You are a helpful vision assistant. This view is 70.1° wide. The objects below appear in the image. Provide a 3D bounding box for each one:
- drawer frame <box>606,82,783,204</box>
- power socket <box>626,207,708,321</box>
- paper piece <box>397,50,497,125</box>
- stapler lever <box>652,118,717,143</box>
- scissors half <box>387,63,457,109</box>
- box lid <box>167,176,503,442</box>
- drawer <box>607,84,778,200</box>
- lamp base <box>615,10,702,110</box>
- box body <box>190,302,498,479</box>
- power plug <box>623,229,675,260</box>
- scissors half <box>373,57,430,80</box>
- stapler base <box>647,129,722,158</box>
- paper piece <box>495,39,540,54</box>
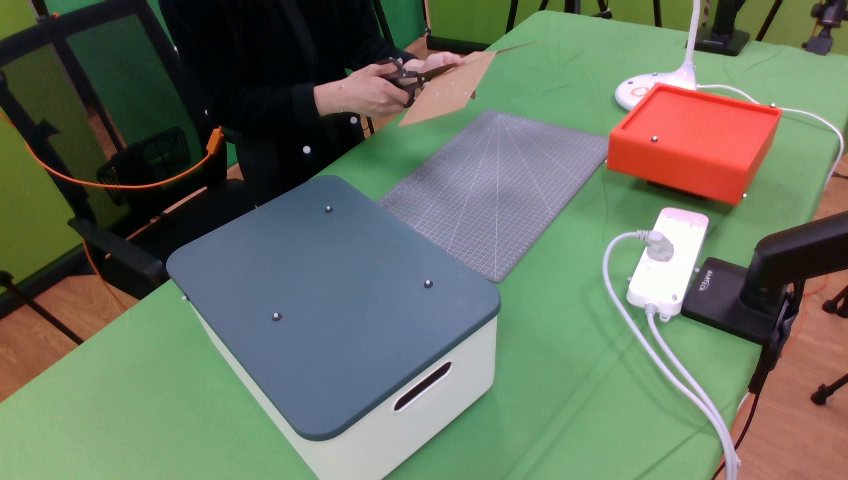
[{"bbox_3d":[0.441,-0.167,0.995,0.212,0.083,0.202,23,48,30],"label":"drawer frame"},{"bbox_3d":[0.360,0.026,0.886,0.072,0.033,0.227,16,46,26],"label":"power socket"},{"bbox_3d":[0.034,-0.229,0.916,0.134,0.004,0.135,-5,44,44],"label":"paper piece"},{"bbox_3d":[0.436,-0.192,1.014,0.118,0.040,0.026,-16,25,-16],"label":"stapler lever"},{"bbox_3d":[-0.004,-0.261,1.020,0.174,0.040,0.013,-20,24,49],"label":"scissors half"},{"bbox_3d":[-0.119,0.047,0.714,0.264,0.015,0.368,-32,47,-27],"label":"box lid"},{"bbox_3d":[0.438,-0.167,0.995,0.210,0.073,0.195,23,48,30],"label":"drawer"},{"bbox_3d":[0.484,-0.364,1.211,0.180,0.181,0.159,-15,41,-14],"label":"lamp base"},{"bbox_3d":[-0.110,0.103,0.761,0.255,0.161,0.361,-33,46,-27],"label":"box body"},{"bbox_3d":[0.327,0.007,0.878,0.072,0.053,0.035,25,51,33],"label":"power plug"},{"bbox_3d":[-0.014,-0.280,1.008,0.174,0.040,0.013,16,52,26],"label":"scissors half"},{"bbox_3d":[0.439,-0.167,1.023,0.131,0.024,0.041,-16,25,-15],"label":"stapler base"},{"bbox_3d":[0.103,-0.302,0.998,0.137,0.008,0.137,-4,18,43],"label":"paper piece"}]
